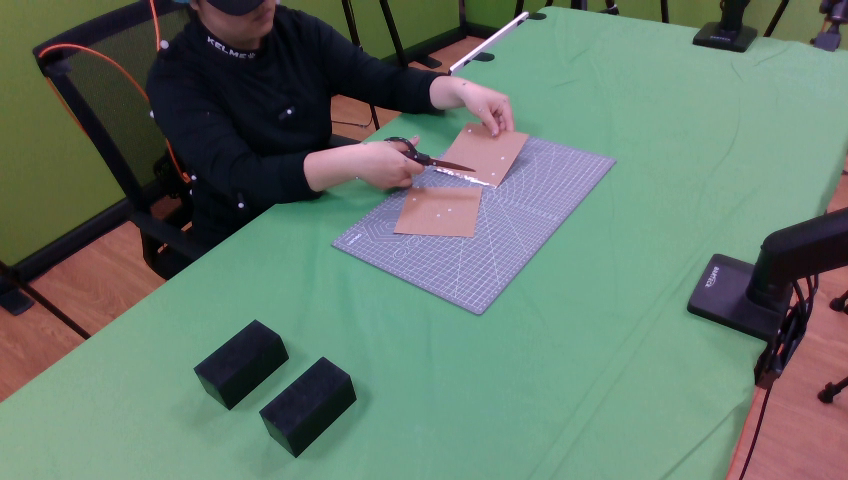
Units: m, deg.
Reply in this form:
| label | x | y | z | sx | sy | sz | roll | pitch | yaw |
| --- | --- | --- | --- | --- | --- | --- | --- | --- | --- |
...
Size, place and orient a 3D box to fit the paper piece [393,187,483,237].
| label | x | y | z | sx | sy | sz | roll | pitch | yaw |
| --- | --- | --- | --- | --- | --- | --- | --- | --- | --- |
| paper piece | 0.027 | -0.051 | 1.033 | 0.135 | 0.004 | 0.135 | 3 | 42 | 12 |

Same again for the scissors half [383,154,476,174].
| label | x | y | z | sx | sy | sz | roll | pitch | yaw |
| --- | --- | --- | --- | --- | --- | --- | --- | --- | --- |
| scissors half | 0.008 | -0.131 | 1.073 | 0.174 | 0.040 | 0.013 | 7 | 45 | 21 |

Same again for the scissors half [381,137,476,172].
| label | x | y | z | sx | sy | sz | roll | pitch | yaw |
| --- | --- | --- | --- | --- | --- | --- | --- | --- | --- |
| scissors half | 0.007 | -0.146 | 1.058 | 0.175 | 0.040 | 0.013 | 19 | 53 | 7 |

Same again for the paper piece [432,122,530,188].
| label | x | y | z | sx | sy | sz | roll | pitch | yaw |
| --- | --- | --- | --- | --- | --- | --- | --- | --- | --- |
| paper piece | 0.107 | -0.161 | 1.127 | 0.135 | 0.009 | 0.138 | 22 | 61 | 24 |
